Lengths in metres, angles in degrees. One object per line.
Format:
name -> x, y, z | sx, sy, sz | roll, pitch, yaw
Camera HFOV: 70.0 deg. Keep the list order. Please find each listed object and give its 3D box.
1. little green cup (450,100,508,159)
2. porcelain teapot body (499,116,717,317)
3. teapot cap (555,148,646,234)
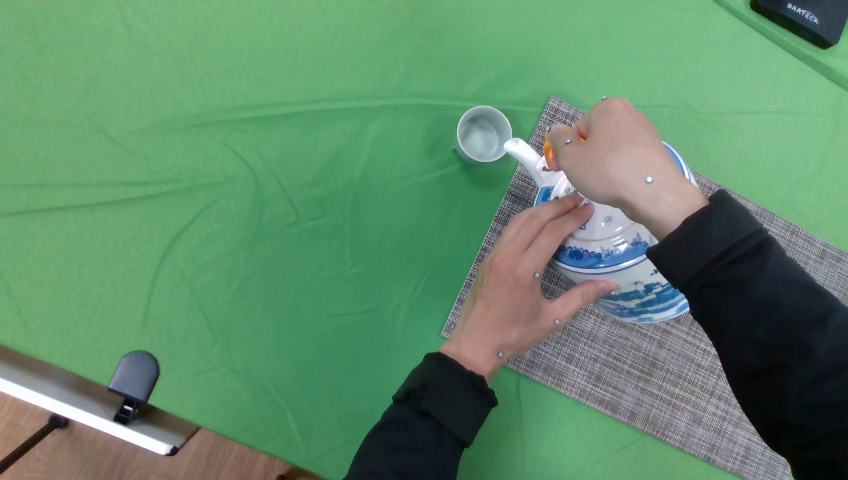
little green cup -> 0.057, -0.118, 0.662 | 0.062, 0.038, 0.061 | 1, 86, -9
porcelain teapot body -> 0.154, -0.040, 0.575 | 0.145, 0.203, 0.228 | -53, 135, 0
teapot cap -> 0.150, -0.046, 0.525 | 0.044, 0.084, 0.085 | 38, 80, -43
